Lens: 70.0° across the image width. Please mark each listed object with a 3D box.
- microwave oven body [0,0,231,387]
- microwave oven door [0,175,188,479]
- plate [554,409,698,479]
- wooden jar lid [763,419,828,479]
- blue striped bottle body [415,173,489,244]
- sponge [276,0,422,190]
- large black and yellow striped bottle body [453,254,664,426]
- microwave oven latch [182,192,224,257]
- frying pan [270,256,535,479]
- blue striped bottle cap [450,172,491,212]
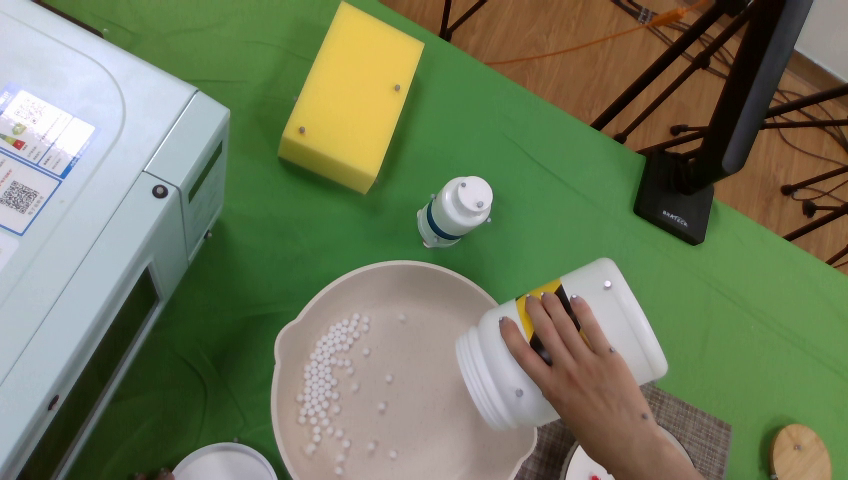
[{"bbox_3d":[-0.407,0.034,0.467,0.327,0.260,0.439,28,68,-11],"label":"microwave oven body"},{"bbox_3d":[-0.293,0.135,0.475,0.039,0.244,0.354,27,67,-10],"label":"microwave oven door"},{"bbox_3d":[0.248,0.318,0.751,0.210,0.038,0.208,6,73,-18],"label":"plate"},{"bbox_3d":[0.532,0.313,0.870,0.109,0.021,0.108,5,74,-18],"label":"wooden jar lid"},{"bbox_3d":[0.036,-0.040,0.732,0.063,0.121,0.062,6,73,-18],"label":"blue striped bottle body"},{"bbox_3d":[-0.091,-0.182,0.758,0.119,0.061,0.205,22,69,-13],"label":"sponge"},{"bbox_3d":[0.134,0.109,0.628,0.184,0.131,0.130,-26,83,12],"label":"large black and yellow striped bottle body"},{"bbox_3d":[-0.244,-0.023,0.650,0.030,0.029,0.079,30,68,-10],"label":"microwave oven latch"},{"bbox_3d":[-0.055,0.250,0.623,0.308,0.103,0.484,26,60,-9],"label":"frying pan"},{"bbox_3d":[0.053,-0.054,0.686,0.045,0.020,0.044,5,75,-18],"label":"blue striped bottle cap"}]
